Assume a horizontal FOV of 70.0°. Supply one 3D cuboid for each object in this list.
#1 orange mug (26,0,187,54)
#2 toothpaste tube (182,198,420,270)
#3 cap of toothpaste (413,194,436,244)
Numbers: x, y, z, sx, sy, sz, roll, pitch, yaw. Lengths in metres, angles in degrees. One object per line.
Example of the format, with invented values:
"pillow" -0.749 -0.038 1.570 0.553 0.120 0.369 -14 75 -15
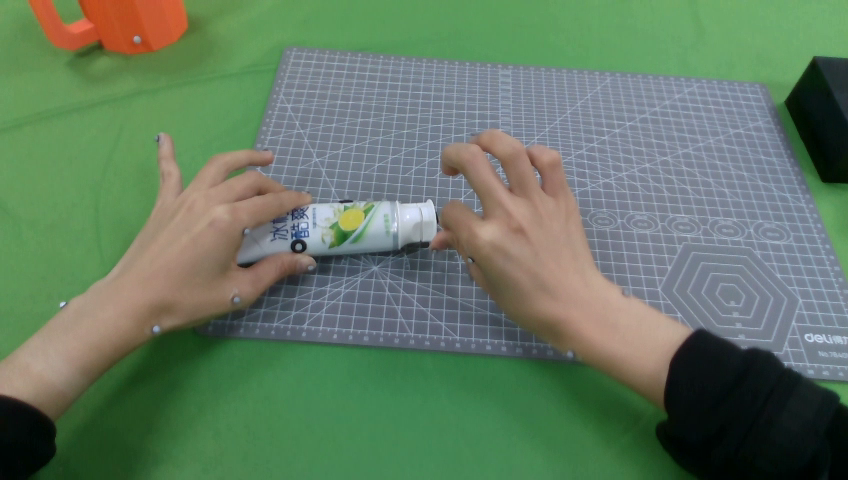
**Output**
"orange mug" -0.279 -0.223 0.528 0.083 0.101 0.126 40 57 23
"toothpaste tube" -0.080 -0.010 0.420 0.165 0.035 0.054 -4 51 -8
"cap of toothpaste" 0.000 -0.015 0.429 0.011 0.037 0.037 -8 54 -14
